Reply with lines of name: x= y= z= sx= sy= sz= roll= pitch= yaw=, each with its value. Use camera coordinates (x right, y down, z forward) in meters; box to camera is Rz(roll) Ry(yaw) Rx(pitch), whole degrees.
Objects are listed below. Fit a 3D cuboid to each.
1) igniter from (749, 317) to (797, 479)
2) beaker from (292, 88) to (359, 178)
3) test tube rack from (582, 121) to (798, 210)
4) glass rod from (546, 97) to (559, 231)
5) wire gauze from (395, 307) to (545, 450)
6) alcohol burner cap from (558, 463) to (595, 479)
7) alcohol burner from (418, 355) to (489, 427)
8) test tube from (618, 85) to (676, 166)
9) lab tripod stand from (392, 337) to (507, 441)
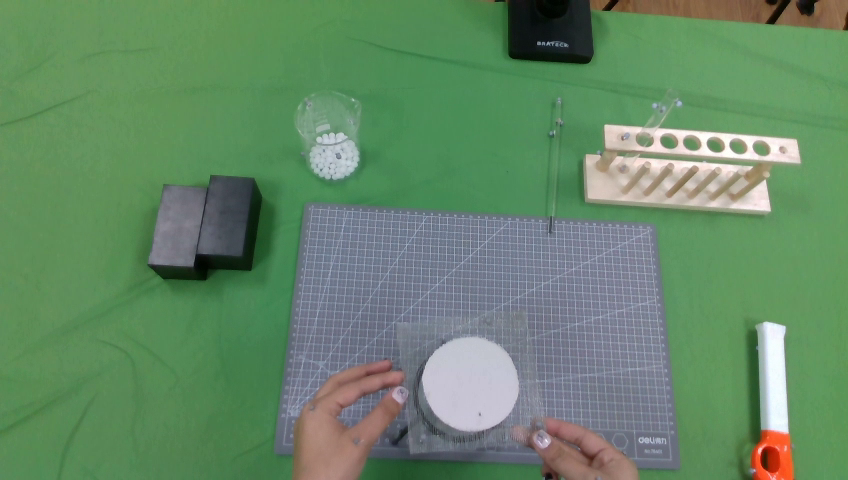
igniter: x=0.395 y=0.224 z=0.688 sx=0.057 sy=0.025 sz=0.275 roll=14 pitch=69 yaw=-10
beaker: x=-0.115 y=-0.128 z=0.743 sx=0.084 sy=0.101 sz=0.073 roll=-34 pitch=75 yaw=-16
test tube rack: x=0.333 y=-0.092 z=0.770 sx=0.242 sy=0.085 sz=0.066 roll=3 pitch=69 yaw=-3
glass rod: x=0.171 y=-0.104 z=0.802 sx=0.008 sy=0.008 sz=0.198 roll=8 pitch=70 yaw=-1
wire gauze: x=0.040 y=0.122 z=0.547 sx=0.125 sy=0.011 sz=0.120 roll=-5 pitch=64 yaw=-3
alcohol burner cap: x=0.167 y=0.257 z=0.651 sx=0.034 sy=0.048 sz=0.033 roll=1 pitch=69 yaw=-3
alcohol burner: x=0.033 y=0.156 z=0.637 sx=0.078 sy=0.120 sz=0.077 roll=2 pitch=68 yaw=-5
test tube: x=0.264 y=-0.133 z=0.728 sx=0.017 sy=0.151 sz=0.017 roll=1 pitch=66 yaw=-2
lab tripod stand: x=0.028 y=0.159 z=0.625 sx=0.148 sy=0.132 sz=0.147 roll=1 pitch=68 yaw=-2
